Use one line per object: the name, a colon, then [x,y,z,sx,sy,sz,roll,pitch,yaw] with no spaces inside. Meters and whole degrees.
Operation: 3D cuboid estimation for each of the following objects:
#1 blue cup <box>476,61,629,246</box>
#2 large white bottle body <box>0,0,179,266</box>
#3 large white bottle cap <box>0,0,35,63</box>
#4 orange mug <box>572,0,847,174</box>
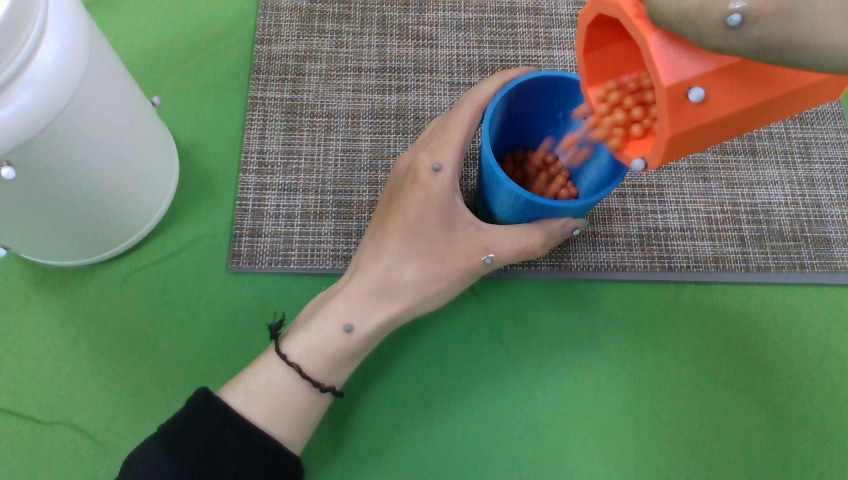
blue cup: [0.070,-0.041,0.377,0.093,0.101,0.092,1,70,-4]
large white bottle body: [-0.231,-0.073,0.337,0.131,0.185,0.129,1,69,-2]
large white bottle cap: [-0.230,-0.104,0.259,0.115,0.018,0.114,1,69,-2]
orange mug: [0.131,-0.096,0.274,0.101,0.127,0.082,-23,61,0]
